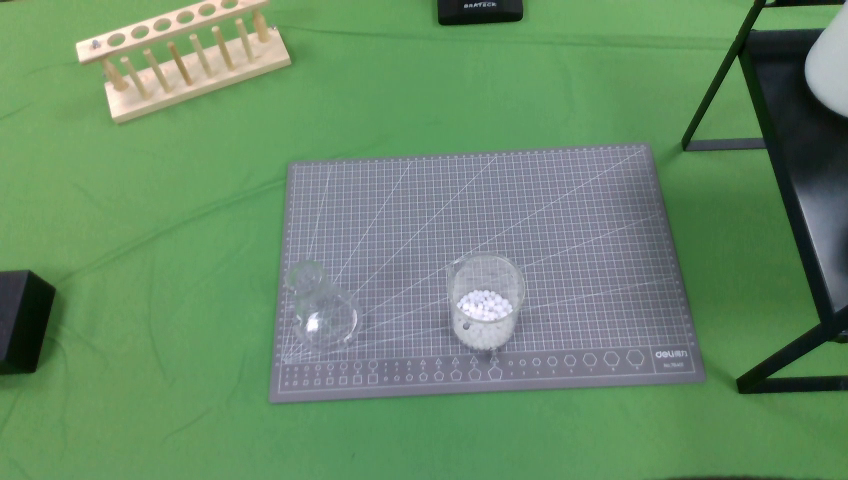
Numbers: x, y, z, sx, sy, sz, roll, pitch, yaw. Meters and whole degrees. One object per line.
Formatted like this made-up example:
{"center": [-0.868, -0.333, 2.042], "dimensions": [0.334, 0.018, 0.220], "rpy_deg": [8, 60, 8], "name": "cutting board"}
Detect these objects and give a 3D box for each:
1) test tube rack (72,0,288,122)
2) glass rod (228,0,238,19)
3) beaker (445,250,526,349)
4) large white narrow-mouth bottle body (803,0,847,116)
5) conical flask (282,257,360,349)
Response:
{"center": [-0.312, -0.244, 0.792], "dimensions": [0.242, 0.086, 0.066], "rpy_deg": [-22, 64, -9], "name": "test tube rack"}
{"center": [-0.246, -0.317, 0.751], "dimensions": [0.008, 0.201, 0.008], "rpy_deg": [2, 62, -3], "name": "glass rod"}
{"center": [0.057, 0.063, 0.614], "dimensions": [0.083, 0.101, 0.074], "rpy_deg": [32, 68, 18], "name": "beaker"}
{"center": [0.392, -0.190, 0.476], "dimensions": [0.102, 0.196, 0.101], "rpy_deg": [-2, 62, 4], "name": "large white narrow-mouth bottle body"}
{"center": [-0.109, 0.059, 0.610], "dimensions": [0.075, 0.123, 0.074], "rpy_deg": [-1, 63, 2], "name": "conical flask"}
